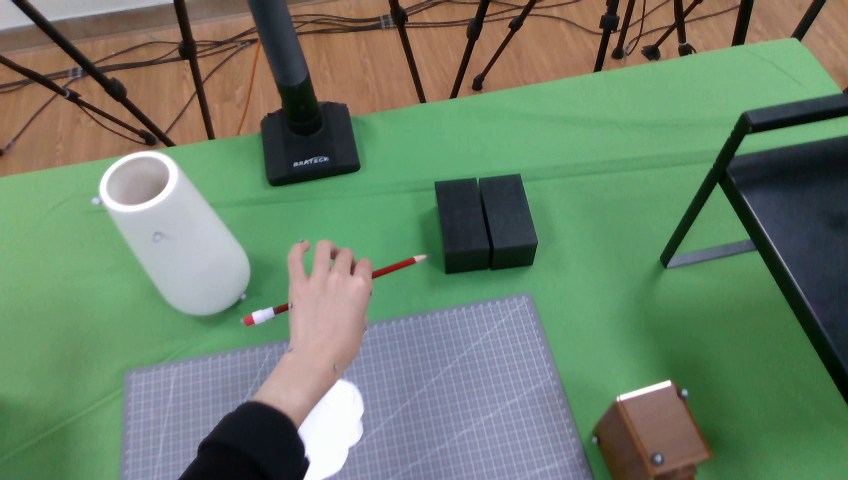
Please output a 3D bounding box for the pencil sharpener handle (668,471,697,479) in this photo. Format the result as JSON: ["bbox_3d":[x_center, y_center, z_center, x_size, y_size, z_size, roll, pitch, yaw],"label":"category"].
[{"bbox_3d":[0.212,0.220,0.512,0.036,0.068,0.030,-7,57,-19],"label":"pencil sharpener handle"}]

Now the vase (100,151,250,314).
[{"bbox_3d":[-0.251,-0.003,0.623,0.098,0.202,0.097,-1,57,3],"label":"vase"}]

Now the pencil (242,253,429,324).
[{"bbox_3d":[-0.084,0.045,0.600,0.194,0.012,0.012,-20,59,-12],"label":"pencil"}]

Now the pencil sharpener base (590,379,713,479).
[{"bbox_3d":[0.202,0.184,0.549,0.061,0.108,0.076,-15,59,-7],"label":"pencil sharpener base"}]
